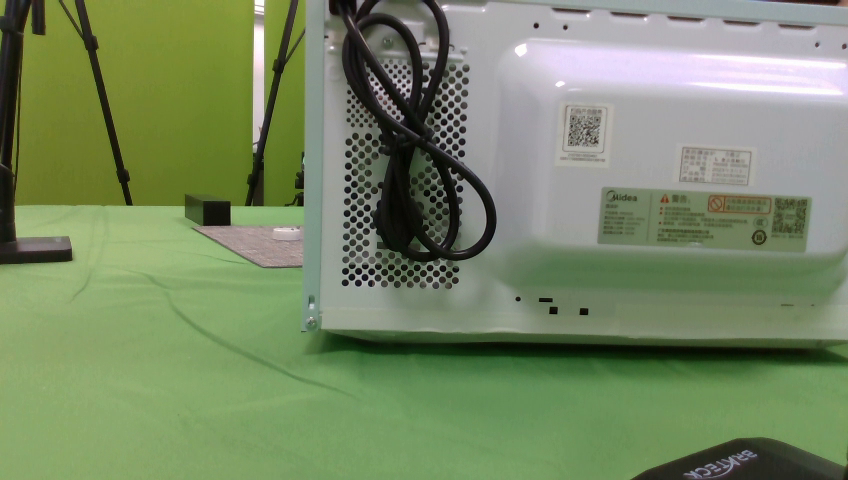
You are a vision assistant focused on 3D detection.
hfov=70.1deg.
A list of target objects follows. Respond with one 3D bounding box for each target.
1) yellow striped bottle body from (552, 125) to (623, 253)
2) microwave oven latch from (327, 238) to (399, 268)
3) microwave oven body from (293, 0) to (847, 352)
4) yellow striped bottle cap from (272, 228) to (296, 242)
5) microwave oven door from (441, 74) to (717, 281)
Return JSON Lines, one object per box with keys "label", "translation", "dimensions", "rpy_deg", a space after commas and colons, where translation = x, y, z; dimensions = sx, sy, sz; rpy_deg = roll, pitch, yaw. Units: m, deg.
{"label": "yellow striped bottle body", "translation": [0.158, -0.050, 0.584], "dimensions": [0.063, 0.120, 0.063], "rpy_deg": [1, 5, 0]}
{"label": "microwave oven latch", "translation": [-0.069, 0.015, 0.694], "dimensions": [0.079, 0.029, 0.030], "rpy_deg": [3, 7, -3]}
{"label": "microwave oven body", "translation": [0.122, -0.055, 0.550], "dimensions": [0.442, 0.260, 0.325], "rpy_deg": [3, 7, -5]}
{"label": "yellow striped bottle cap", "translation": [-0.232, -0.008, 1.012], "dimensions": [0.044, 0.018, 0.044], "rpy_deg": [4, 8, 0]}
{"label": "microwave oven door", "translation": [0.185, -0.090, 0.805], "dimensions": [0.354, 0.243, 0.039], "rpy_deg": [7, 9, 33]}
